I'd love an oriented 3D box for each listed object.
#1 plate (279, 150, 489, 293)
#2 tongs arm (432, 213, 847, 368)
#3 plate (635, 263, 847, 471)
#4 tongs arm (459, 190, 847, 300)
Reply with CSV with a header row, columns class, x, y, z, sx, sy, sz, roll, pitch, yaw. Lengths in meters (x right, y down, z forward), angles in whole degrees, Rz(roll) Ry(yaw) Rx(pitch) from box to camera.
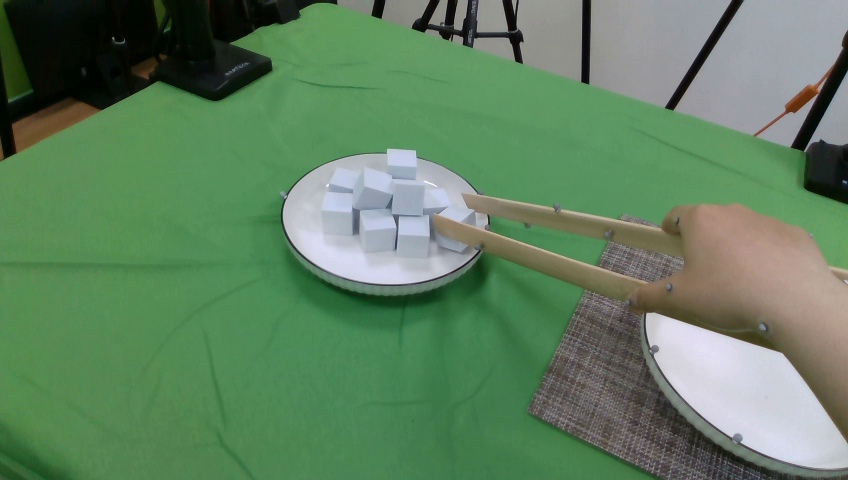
class,x,y,z,sx,sy,sz,roll,pitch,yaw
plate,-0.039,-0.019,0.616,0.209,0.038,0.207,4,42,-4
tongs arm,0.140,0.024,0.460,0.028,0.028,0.384,-38,36,-29
plate,0.283,0.104,0.522,0.208,0.039,0.205,4,43,-3
tongs arm,0.159,0.007,0.472,0.381,0.027,0.050,15,48,43
